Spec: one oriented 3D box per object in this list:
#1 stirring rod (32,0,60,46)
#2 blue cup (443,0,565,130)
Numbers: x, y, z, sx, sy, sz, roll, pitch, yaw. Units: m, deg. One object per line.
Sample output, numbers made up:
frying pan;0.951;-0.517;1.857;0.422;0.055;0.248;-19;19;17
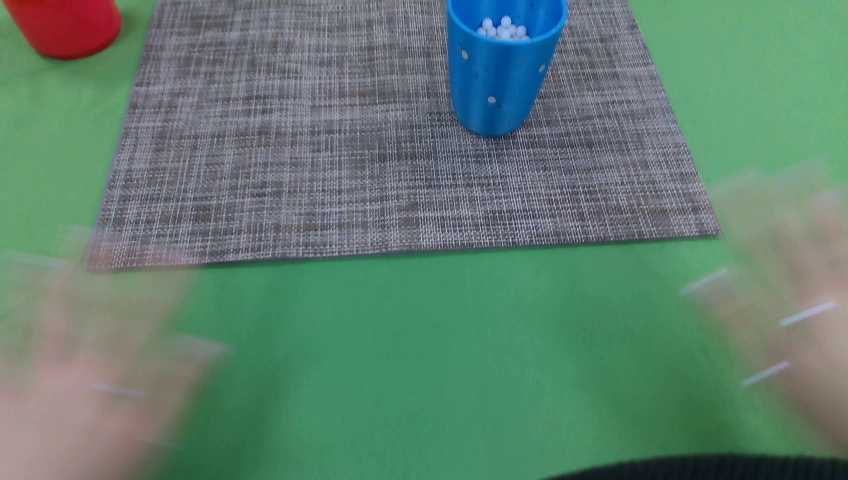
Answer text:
stirring rod;-0.292;-0.243;0.505;0.014;0.006;0.176;40;106;26
blue cup;0.054;-0.139;0.461;0.093;0.101;0.092;1;57;-2
